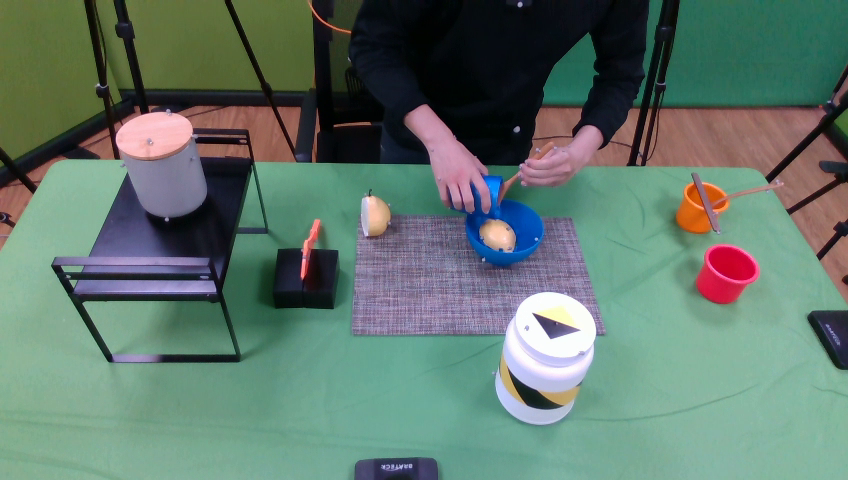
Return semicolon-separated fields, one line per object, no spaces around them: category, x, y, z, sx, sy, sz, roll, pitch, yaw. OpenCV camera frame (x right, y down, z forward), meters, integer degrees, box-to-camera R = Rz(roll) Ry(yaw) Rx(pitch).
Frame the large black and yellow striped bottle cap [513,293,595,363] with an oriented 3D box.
large black and yellow striped bottle cap;0.186;0.123;0.863;0.115;0.019;0.114;3;45;-3

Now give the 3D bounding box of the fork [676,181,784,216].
fork;0.618;-0.084;1.235;0.207;0.019;0.028;-23;21;38

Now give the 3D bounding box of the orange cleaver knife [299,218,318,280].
orange cleaver knife;-0.214;0.013;1.125;0.012;0.077;0.210;6;17;-5

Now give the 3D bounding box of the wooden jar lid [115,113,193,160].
wooden jar lid;-0.399;-0.151;0.900;0.108;0.021;0.107;3;46;-3

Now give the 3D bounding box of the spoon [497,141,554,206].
spoon;0.166;-0.117;1.094;0.022;0.194;0.041;-11;65;-48

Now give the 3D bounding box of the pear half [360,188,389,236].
pear half;-0.096;-0.060;1.181;0.056;0.110;0.076;-13;52;-17

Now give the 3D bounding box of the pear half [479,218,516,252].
pear half;0.145;-0.014;1.166;0.070;0.031;0.087;-22;57;-18

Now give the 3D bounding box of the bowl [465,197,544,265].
bowl;0.149;-0.004;1.167;0.151;0.077;0.150;2;46;-2

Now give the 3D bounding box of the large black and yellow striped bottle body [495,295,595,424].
large black and yellow striped bottle body;0.183;0.182;0.923;0.131;0.185;0.130;2;46;-2

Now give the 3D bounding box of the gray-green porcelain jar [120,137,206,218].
gray-green porcelain jar;-0.403;-0.106;0.946;0.106;0.127;0.105;3;46;-2

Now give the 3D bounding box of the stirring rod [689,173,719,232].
stirring rod;0.566;-0.080;1.225;0.014;0.006;0.175;2;46;2

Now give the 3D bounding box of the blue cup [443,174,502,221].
blue cup;0.090;-0.085;1.131;0.100;0.093;0.092;8;46;10
